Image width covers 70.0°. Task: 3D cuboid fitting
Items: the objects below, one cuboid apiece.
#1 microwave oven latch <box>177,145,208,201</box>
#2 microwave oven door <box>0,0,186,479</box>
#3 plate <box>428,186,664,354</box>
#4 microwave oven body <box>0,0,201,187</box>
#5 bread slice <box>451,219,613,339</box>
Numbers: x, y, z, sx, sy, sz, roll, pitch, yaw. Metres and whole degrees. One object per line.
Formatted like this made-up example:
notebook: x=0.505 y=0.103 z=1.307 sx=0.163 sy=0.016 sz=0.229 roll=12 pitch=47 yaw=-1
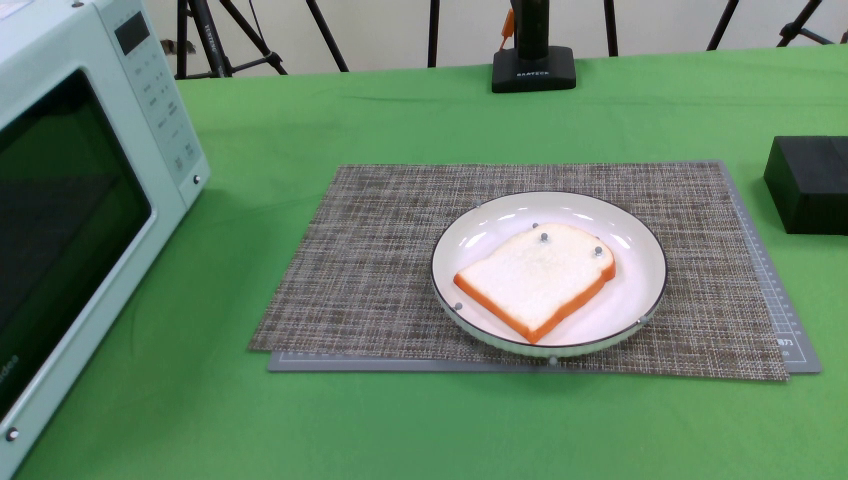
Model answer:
microwave oven latch: x=-0.283 y=-0.079 z=0.719 sx=0.030 sy=0.030 sz=0.078 roll=1 pitch=42 yaw=9
microwave oven door: x=-0.322 y=-0.013 z=0.490 sx=0.039 sy=0.246 sz=0.352 roll=-1 pitch=41 yaw=9
plate: x=0.108 y=0.025 z=0.554 sx=0.209 sy=0.038 sz=0.207 roll=-5 pitch=40 yaw=5
microwave oven body: x=-0.461 y=-0.035 z=0.547 sx=0.325 sy=0.263 sz=0.437 roll=0 pitch=42 yaw=9
bread slice: x=0.105 y=0.024 z=0.557 sx=0.131 sy=0.019 sz=0.104 roll=-31 pitch=46 yaw=-26
